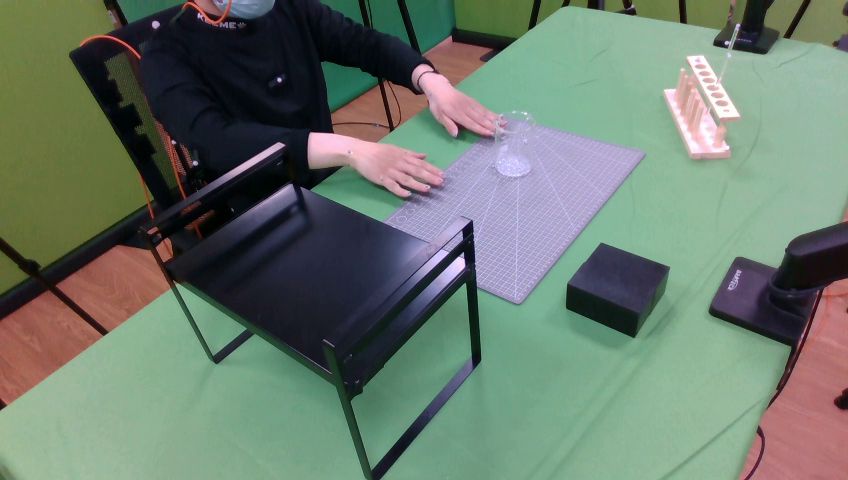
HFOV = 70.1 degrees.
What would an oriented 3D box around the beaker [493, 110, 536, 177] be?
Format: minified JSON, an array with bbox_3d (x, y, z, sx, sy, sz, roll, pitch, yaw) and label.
[{"bbox_3d":[0.165,-0.172,1.082,0.084,0.101,0.073,-34,47,-28],"label":"beaker"}]

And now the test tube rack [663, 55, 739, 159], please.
[{"bbox_3d":[0.517,-0.256,1.144,0.066,0.085,0.241,-1,41,8],"label":"test tube rack"}]

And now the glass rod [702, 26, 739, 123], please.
[{"bbox_3d":[0.526,-0.288,1.078,0.008,0.200,0.008,-2,49,3],"label":"glass rod"}]
